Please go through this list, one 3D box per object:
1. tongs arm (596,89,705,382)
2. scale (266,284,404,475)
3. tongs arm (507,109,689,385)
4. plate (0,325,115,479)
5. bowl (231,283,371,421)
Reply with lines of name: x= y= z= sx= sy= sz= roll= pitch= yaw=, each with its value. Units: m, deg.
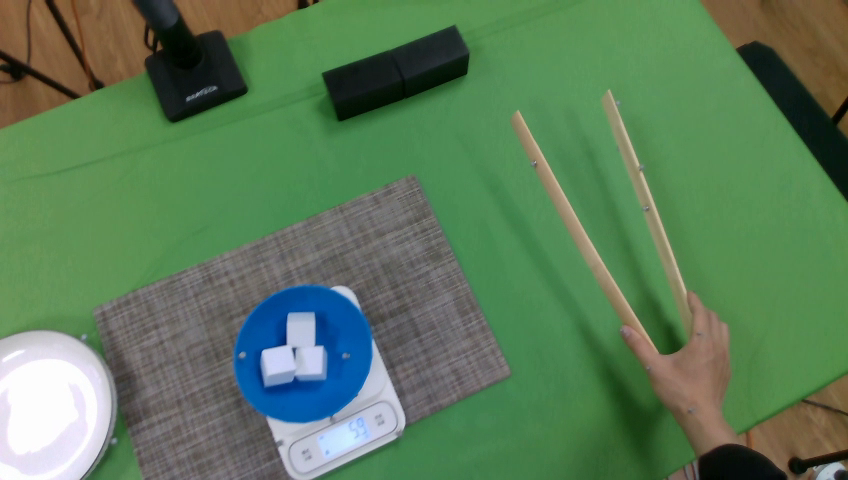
tongs arm: x=0.271 y=-0.015 z=0.759 sx=0.051 sy=0.026 sz=0.382 roll=-12 pitch=76 yaw=-19
scale: x=-0.126 y=0.164 z=0.735 sx=0.149 sy=0.032 sz=0.199 roll=-23 pitch=74 yaw=-7
tongs arm: x=0.201 y=0.006 z=0.735 sx=0.028 sy=0.028 sz=0.386 roll=-24 pitch=79 yaw=-25
plate: x=-0.468 y=0.206 z=0.719 sx=0.208 sy=0.039 sz=0.206 roll=0 pitch=72 yaw=-1
bowl: x=-0.133 y=0.131 z=0.690 sx=0.151 sy=0.077 sz=0.150 roll=1 pitch=72 yaw=-2
